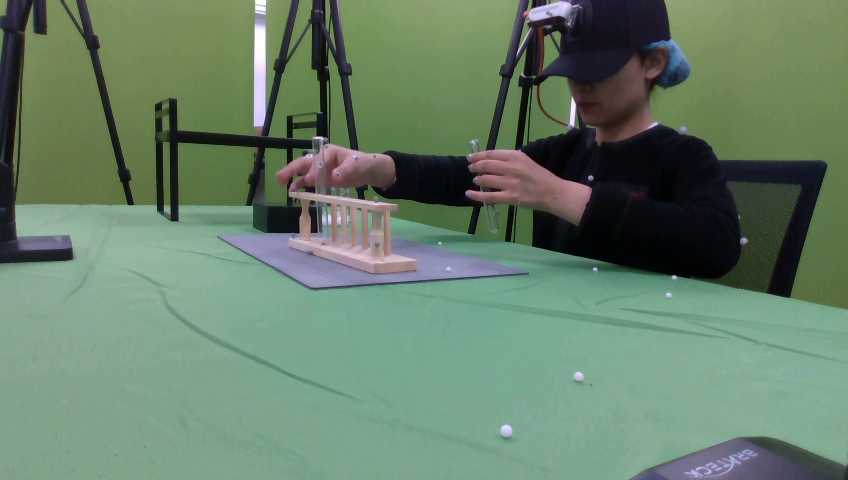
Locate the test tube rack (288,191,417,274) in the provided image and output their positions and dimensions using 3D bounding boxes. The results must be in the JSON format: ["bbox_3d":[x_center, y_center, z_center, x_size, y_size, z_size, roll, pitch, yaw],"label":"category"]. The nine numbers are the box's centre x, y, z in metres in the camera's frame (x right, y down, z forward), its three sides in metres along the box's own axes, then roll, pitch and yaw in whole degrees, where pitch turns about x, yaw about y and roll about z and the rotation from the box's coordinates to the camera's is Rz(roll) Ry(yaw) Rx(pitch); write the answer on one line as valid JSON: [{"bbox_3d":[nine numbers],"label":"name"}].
[{"bbox_3d":[-0.106,-0.017,0.835,0.067,0.085,0.241,-4,10,-37],"label":"test tube rack"}]

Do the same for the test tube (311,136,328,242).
[{"bbox_3d":[-0.146,-0.071,0.850,0.017,0.150,0.017,-1,12,1],"label":"test tube"}]

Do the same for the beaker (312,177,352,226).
[{"bbox_3d":[-0.194,-0.081,1.266,0.084,0.100,0.073,-3,9,-29],"label":"beaker"}]

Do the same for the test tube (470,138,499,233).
[{"bbox_3d":[0.093,-0.084,0.935,0.017,0.150,0.017,-12,1,0],"label":"test tube"}]
